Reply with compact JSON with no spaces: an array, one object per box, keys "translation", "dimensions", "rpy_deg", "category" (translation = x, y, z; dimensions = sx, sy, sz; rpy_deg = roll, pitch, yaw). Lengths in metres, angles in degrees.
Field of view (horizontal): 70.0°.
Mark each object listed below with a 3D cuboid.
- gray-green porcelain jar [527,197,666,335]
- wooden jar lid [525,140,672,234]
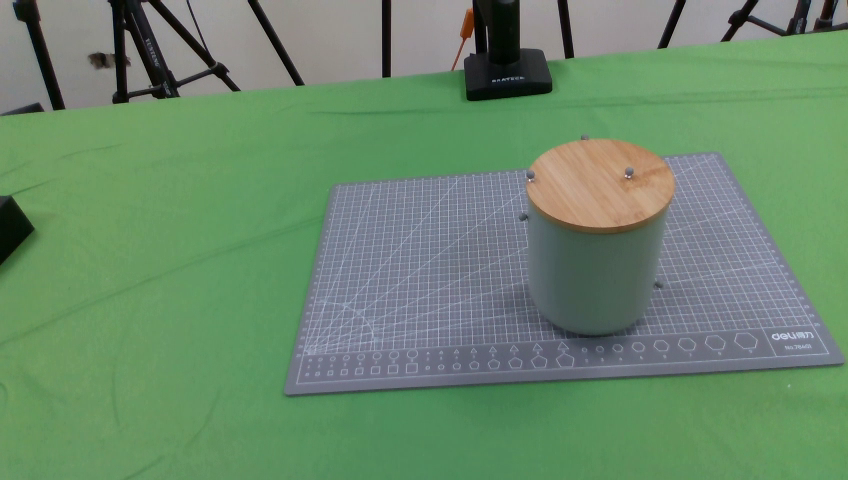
[{"translation":[0.139,0.008,0.505],"dimensions":[0.106,0.128,0.105],"rpy_deg":[-5,41,5],"category":"gray-green porcelain jar"},{"translation":[0.132,-0.039,0.464],"dimensions":[0.108,0.021,0.107],"rpy_deg":[-6,42,6],"category":"wooden jar lid"}]
